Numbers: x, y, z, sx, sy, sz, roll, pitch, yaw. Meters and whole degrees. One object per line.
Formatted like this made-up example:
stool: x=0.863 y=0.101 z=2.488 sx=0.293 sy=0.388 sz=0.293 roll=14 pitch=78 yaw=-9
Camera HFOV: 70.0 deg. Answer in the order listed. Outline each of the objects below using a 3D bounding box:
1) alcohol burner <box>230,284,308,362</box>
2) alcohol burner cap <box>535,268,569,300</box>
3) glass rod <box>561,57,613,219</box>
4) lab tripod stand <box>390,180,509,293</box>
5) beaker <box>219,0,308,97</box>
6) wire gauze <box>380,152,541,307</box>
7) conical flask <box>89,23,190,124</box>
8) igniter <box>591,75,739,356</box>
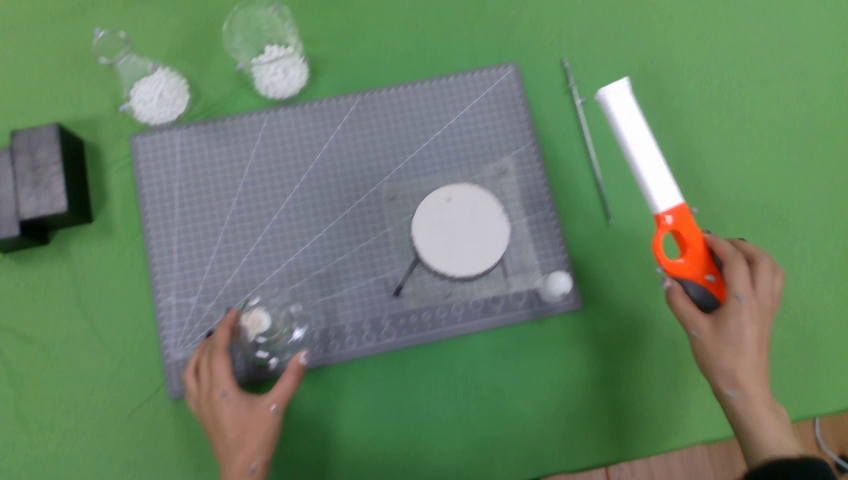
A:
alcohol burner: x=-0.155 y=0.081 z=0.592 sx=0.078 sy=0.119 sz=0.077 roll=0 pitch=81 yaw=-3
alcohol burner cap: x=0.138 y=0.045 z=0.643 sx=0.034 sy=0.048 sz=0.033 roll=0 pitch=79 yaw=-1
glass rod: x=0.186 y=-0.119 z=0.693 sx=0.008 sy=0.008 sz=0.199 roll=-13 pitch=80 yaw=-4
lab tripod stand: x=0.026 y=0.005 z=0.601 sx=0.148 sy=0.132 sz=0.148 roll=0 pitch=81 yaw=-1
beaker: x=-0.165 y=-0.204 z=0.654 sx=0.084 sy=0.100 sz=0.074 roll=24 pitch=80 yaw=2
wire gauze: x=0.031 y=-0.009 z=0.535 sx=0.125 sy=0.011 sz=0.121 roll=-11 pitch=81 yaw=-2
conical flask: x=-0.301 y=-0.177 z=0.633 sx=0.075 sy=0.122 sz=0.075 roll=0 pitch=79 yaw=-2
igniter: x=0.228 y=-0.022 z=0.569 sx=0.057 sy=0.025 sz=0.276 roll=-25 pitch=90 yaw=-5
